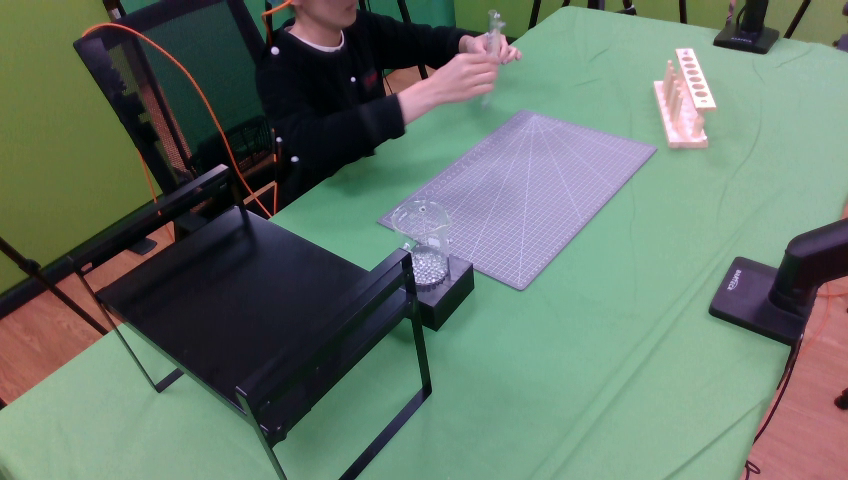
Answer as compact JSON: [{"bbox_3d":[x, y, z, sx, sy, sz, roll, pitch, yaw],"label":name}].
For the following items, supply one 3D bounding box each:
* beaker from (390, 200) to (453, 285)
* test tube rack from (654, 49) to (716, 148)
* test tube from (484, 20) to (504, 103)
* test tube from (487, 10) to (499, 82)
[{"bbox_3d":[0.002,0.006,0.831,0.084,0.101,0.074,5,42,13],"label":"beaker"},{"bbox_3d":[0.502,-0.281,1.176,0.066,0.085,0.241,2,41,11],"label":"test tube rack"},{"bbox_3d":[0.122,-0.311,1.066,0.017,0.150,0.017,4,39,-2],"label":"test tube"},{"bbox_3d":[0.133,-0.373,1.176,0.017,0.151,0.017,-1,49,2],"label":"test tube"}]
